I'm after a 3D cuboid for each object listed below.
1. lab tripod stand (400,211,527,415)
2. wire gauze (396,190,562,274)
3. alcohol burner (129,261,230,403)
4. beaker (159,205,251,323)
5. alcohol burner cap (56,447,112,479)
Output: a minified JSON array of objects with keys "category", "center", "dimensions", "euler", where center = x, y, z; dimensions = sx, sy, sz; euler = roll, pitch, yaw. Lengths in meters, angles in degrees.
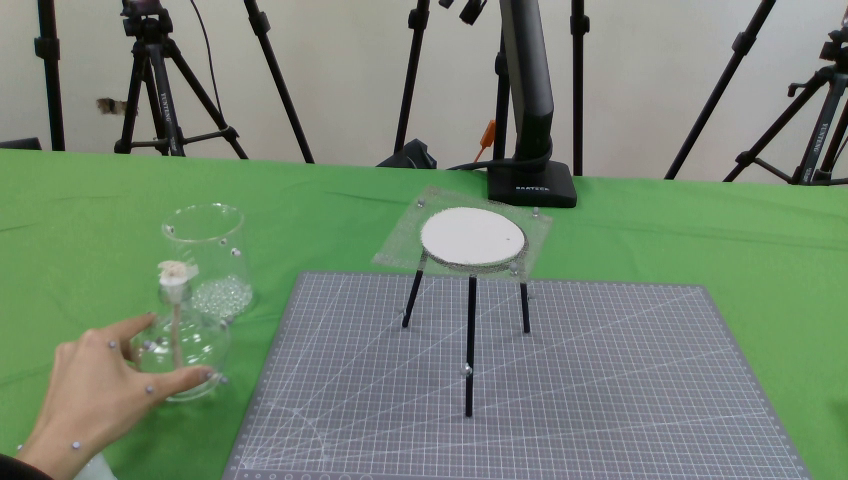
[{"category":"lab tripod stand","center":[0.040,0.055,0.532],"dimensions":[0.148,0.132,0.147],"euler":[2,34,-1]},{"category":"wire gauze","center":[0.041,-0.012,0.482],"dimensions":[0.125,0.011,0.120],"euler":[7,27,-5]},{"category":"alcohol burner","center":[-0.200,0.071,0.494],"dimensions":[0.078,0.120,0.077],"euler":[4,23,-1]},{"category":"beaker","center":[-0.213,0.024,0.606],"dimensions":[0.074,0.101,0.083],"euler":[9,33,10]},{"category":"alcohol burner cap","center":[-0.244,0.169,0.432],"dimensions":[0.034,0.048,0.033],"euler":[2,32,-1]}]
